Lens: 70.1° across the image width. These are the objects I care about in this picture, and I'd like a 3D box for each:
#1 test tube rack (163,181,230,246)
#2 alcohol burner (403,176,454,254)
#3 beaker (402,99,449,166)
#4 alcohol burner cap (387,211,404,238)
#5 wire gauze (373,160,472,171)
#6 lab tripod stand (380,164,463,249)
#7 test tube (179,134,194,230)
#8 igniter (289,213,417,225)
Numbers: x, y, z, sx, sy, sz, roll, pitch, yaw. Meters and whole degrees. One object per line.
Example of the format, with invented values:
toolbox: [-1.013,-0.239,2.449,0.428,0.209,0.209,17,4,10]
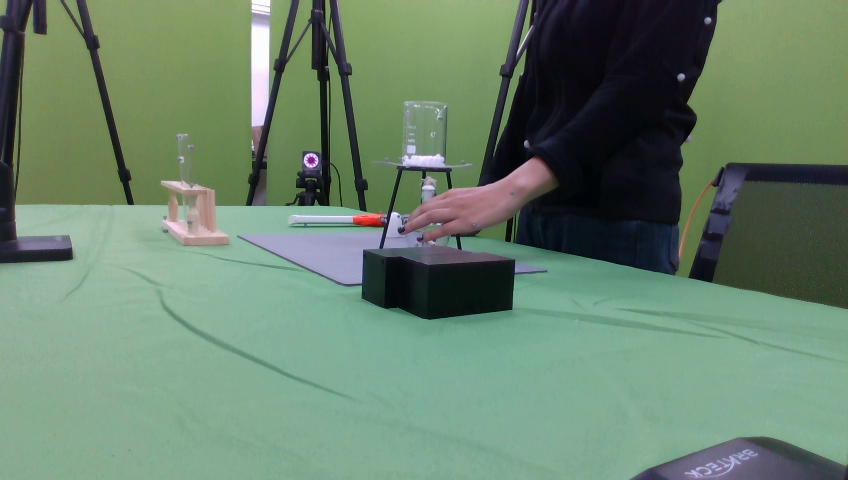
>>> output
test tube rack: [-0.387,-0.050,1.015,0.067,0.085,0.241,-2,9,-30]
alcohol burner: [0.007,-0.038,0.919,0.078,0.119,0.078,0,8,0]
beaker: [0.003,-0.168,0.957,0.073,0.100,0.084,8,11,35]
alcohol burner cap: [-0.053,-0.029,1.107,0.034,0.048,0.034,2,9,0]
wire gauze: [-0.004,-0.120,0.959,0.122,0.011,0.124,-5,13,-33]
lab tripod stand: [-0.003,-0.055,0.967,0.148,0.131,0.148,2,9,0]
test tube: [-0.366,-0.089,0.938,0.017,0.150,0.017,-1,9,1]
igniter: [-0.144,-0.044,1.275,0.278,0.025,0.057,-1,-2,-27]
